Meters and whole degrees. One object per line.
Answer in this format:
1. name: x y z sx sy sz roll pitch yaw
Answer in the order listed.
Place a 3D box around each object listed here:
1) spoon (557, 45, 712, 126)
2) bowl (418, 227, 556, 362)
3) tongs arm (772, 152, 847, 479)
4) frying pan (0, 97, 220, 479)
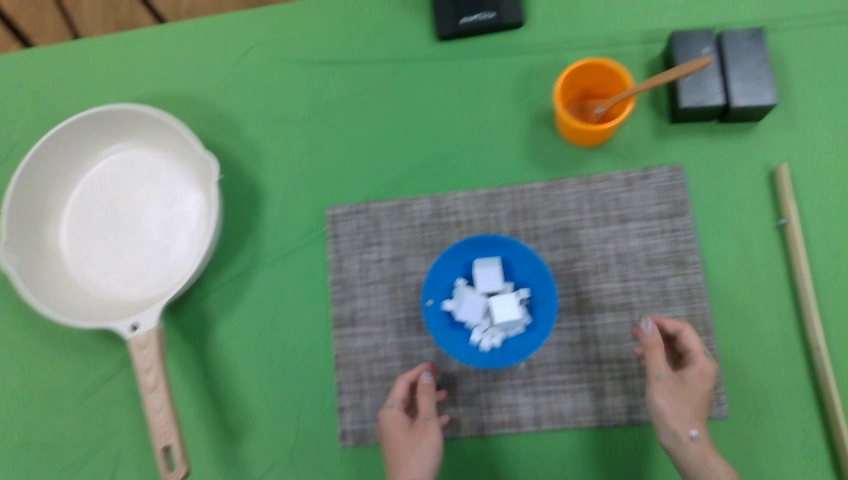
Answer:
1. spoon: 0.232 -0.176 0.692 0.022 0.193 0.041 1 79 -37
2. bowl: 0.073 0.066 0.698 0.151 0.077 0.150 -1 79 7
3. tongs arm: 0.440 0.086 0.679 0.028 0.028 0.385 -7 79 4
4. frying pan: -0.360 0.053 0.747 0.307 0.103 0.484 -23 69 4
